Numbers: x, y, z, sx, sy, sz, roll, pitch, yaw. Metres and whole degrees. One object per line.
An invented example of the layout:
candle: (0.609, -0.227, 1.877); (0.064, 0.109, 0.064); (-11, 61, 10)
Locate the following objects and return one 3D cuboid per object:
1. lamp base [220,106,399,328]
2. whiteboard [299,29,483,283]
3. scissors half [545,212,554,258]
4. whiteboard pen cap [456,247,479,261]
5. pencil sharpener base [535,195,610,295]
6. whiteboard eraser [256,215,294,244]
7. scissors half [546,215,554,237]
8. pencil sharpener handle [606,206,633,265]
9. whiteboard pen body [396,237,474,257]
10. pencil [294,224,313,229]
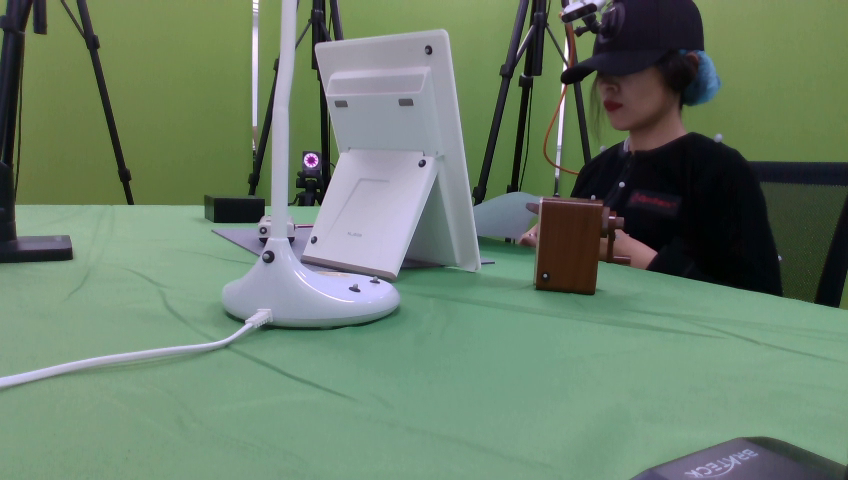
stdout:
lamp base: (-0.101, -0.023, 0.531); (0.160, 0.180, 0.179); (4, 10, 10)
whiteboard: (-0.074, -0.082, 0.742); (0.216, 0.305, 0.144); (9, 30, 38)
scissors half: (0.225, -0.010, 1.086); (0.013, 0.040, 0.176); (-4, -27, 14)
whiteboard pen cap: (0.060, 0.020, 0.851); (0.033, 0.018, 0.018); (10, 10, 37)
pencil sharpener base: (0.172, 0.005, 0.695); (0.076, 0.107, 0.061); (5, 7, 16)
whiteboard eraser: (-0.232, -0.016, 0.951); (0.056, 0.042, 0.112); (2, 7, -12)
scissors half: (0.224, -0.031, 1.093); (0.013, 0.040, 0.175); (-9, -5, 13)
pencil sharpener handle: (0.222, -0.004, 0.683); (0.030, 0.068, 0.036); (5, 21, 17)
whiteboard pen body: (0.014, 0.012, 0.886); (0.140, 0.017, 0.017); (9, 10, 38)
pencil: (-0.220, -0.028, 1.211); (0.195, 0.012, 0.012); (-5, 10, -34)
